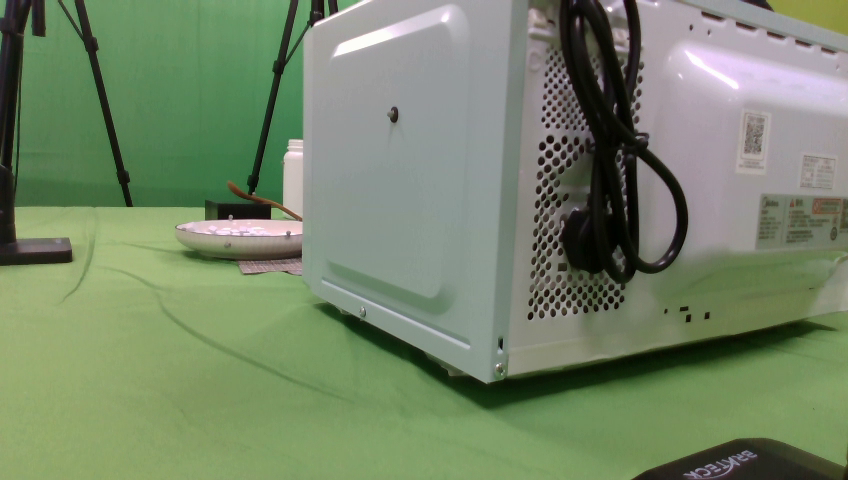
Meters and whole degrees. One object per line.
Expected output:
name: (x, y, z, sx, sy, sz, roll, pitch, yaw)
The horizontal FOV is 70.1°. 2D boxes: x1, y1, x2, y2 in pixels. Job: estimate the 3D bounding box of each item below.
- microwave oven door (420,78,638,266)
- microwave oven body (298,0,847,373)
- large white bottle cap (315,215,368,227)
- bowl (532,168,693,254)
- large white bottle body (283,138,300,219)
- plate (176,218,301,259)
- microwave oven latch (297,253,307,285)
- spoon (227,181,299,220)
microwave oven door: (0.134, -0.105, 0.895, 0.354, 0.243, 0.039, 9, 10, 44)
microwave oven body: (0.151, -0.055, 0.543, 0.444, 0.260, 0.324, -1, 7, -33)
large white bottle cap: (-0.178, -0.041, 1.308, 0.115, 0.018, 0.115, 2, 6, 0)
bowl: (0.180, -0.029, 0.596, 0.151, 0.077, 0.151, 2, 7, 0)
large white bottle body: (-0.265, -0.144, 1.423, 0.131, 0.184, 0.130, 2, 7, 0)
plate: (-0.248, -0.003, 0.877, 0.209, 0.038, 0.209, 1, 8, 0)
microwave oven latch: (-0.082, 0.027, 0.582, 0.079, 0.029, 0.030, -1, 7, -32)
spoon: (-0.315, -0.074, 1.235, 0.195, 0.021, 0.041, 24, -9, -37)
